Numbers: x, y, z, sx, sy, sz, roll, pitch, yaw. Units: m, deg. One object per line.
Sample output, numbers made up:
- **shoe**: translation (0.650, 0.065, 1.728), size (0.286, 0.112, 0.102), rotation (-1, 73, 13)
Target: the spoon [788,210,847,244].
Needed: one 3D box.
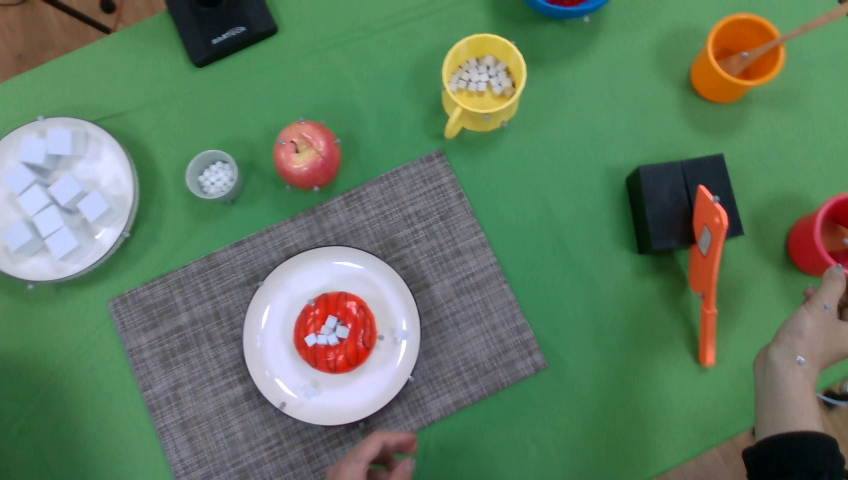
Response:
- **spoon**: translation (0.510, -0.001, 0.668), size (0.192, 0.022, 0.041), rotation (17, 76, 49)

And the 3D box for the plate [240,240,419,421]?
- **plate**: translation (-0.108, 0.104, 0.712), size (0.209, 0.038, 0.208), rotation (0, 81, 1)

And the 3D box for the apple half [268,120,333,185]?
- **apple half**: translation (-0.155, -0.097, 0.731), size (0.080, 0.075, 0.053), rotation (44, 89, 4)

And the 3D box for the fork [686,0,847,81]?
- **fork**: translation (0.409, -0.243, 0.704), size (0.207, 0.019, 0.028), rotation (-25, 75, 41)

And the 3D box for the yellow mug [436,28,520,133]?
- **yellow mug**: translation (0.056, -0.186, 0.744), size (0.100, 0.064, 0.130), rotation (32, 84, 5)

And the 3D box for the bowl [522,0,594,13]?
- **bowl**: translation (0.166, -0.345, 0.761), size (0.151, 0.077, 0.151), rotation (0, 81, 1)

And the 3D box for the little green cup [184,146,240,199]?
- **little green cup**: translation (-0.259, -0.080, 0.747), size (0.061, 0.039, 0.061), rotation (0, 81, 1)

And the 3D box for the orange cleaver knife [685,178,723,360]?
- **orange cleaver knife**: translation (0.316, 0.036, 0.694), size (0.012, 0.076, 0.213), rotation (-7, 113, 1)

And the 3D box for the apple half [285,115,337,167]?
- **apple half**: translation (-0.129, -0.125, 0.733), size (0.081, 0.081, 0.033), rotation (43, 88, 8)

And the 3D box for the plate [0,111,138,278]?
- **plate**: translation (-0.452, -0.054, 0.746), size (0.208, 0.039, 0.207), rotation (0, 81, 1)

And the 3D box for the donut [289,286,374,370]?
- **donut**: translation (-0.106, 0.101, 0.701), size (0.099, 0.048, 0.099), rotation (0, 83, 2)
